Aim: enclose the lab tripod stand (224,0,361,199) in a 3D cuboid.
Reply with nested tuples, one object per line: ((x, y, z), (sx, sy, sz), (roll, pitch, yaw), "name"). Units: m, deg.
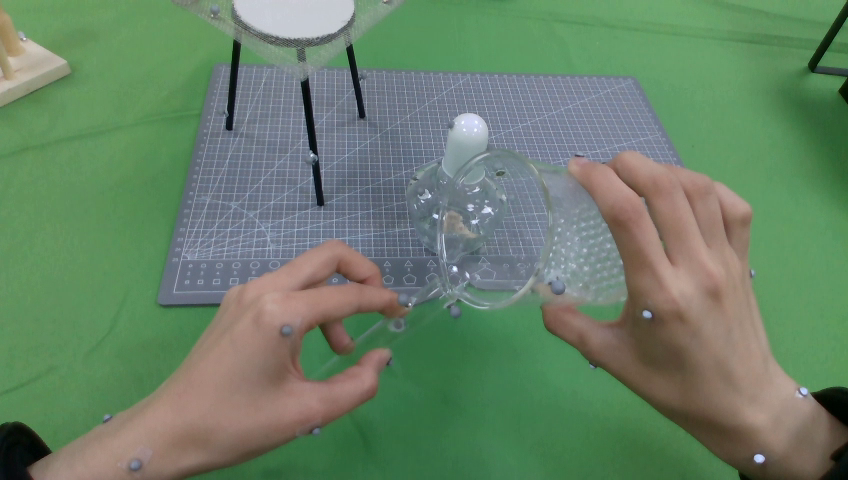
((-0.101, -0.128, 0.491), (0.148, 0.132, 0.147), (5, 49, -5), "lab tripod stand")

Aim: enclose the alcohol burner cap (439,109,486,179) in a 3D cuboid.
((0.028, -0.069, 0.422), (0.034, 0.048, 0.033), (2, 53, -3), "alcohol burner cap")

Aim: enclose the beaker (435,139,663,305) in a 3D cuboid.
((0.065, -0.002, 0.309), (0.101, 0.084, 0.073), (4, 43, -39), "beaker")

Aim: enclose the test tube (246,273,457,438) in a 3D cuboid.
((-0.043, 0.065, 0.324), (0.150, 0.017, 0.017), (-38, 51, 19), "test tube")

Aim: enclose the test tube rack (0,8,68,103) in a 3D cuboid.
((-0.431, -0.134, 0.489), (0.066, 0.086, 0.241), (30, 52, 18), "test tube rack")

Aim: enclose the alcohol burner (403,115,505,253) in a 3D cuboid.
((0.025, -0.046, 0.451), (0.078, 0.120, 0.077), (5, 48, -5), "alcohol burner")

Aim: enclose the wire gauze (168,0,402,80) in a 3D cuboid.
((-0.097, -0.171, 0.440), (0.124, 0.011, 0.121), (31, 53, 17), "wire gauze")
